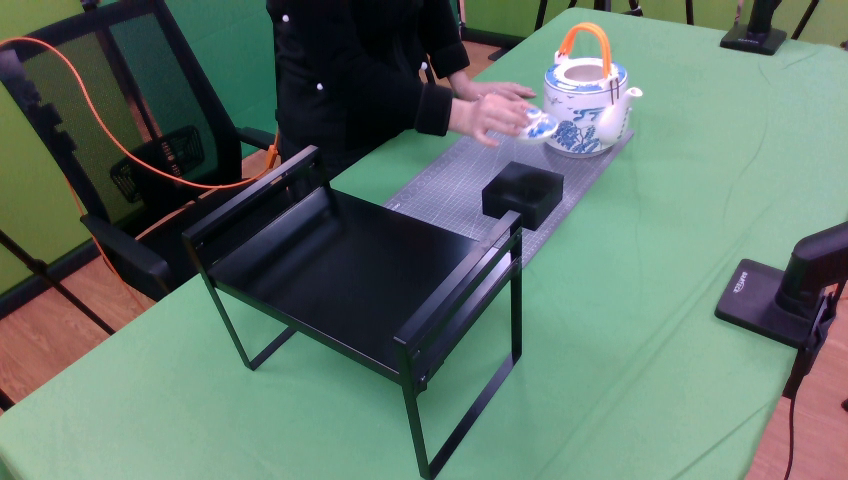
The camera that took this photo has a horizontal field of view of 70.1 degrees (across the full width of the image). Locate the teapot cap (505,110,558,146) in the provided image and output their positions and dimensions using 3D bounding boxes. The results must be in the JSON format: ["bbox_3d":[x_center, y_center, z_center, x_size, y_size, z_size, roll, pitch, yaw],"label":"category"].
[{"bbox_3d":[0.175,-0.187,0.983,0.085,0.044,0.085,-1,41,1],"label":"teapot cap"}]

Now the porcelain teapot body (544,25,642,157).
[{"bbox_3d":[0.306,-0.258,1.070,0.146,0.226,0.203,-26,44,-20],"label":"porcelain teapot body"}]
